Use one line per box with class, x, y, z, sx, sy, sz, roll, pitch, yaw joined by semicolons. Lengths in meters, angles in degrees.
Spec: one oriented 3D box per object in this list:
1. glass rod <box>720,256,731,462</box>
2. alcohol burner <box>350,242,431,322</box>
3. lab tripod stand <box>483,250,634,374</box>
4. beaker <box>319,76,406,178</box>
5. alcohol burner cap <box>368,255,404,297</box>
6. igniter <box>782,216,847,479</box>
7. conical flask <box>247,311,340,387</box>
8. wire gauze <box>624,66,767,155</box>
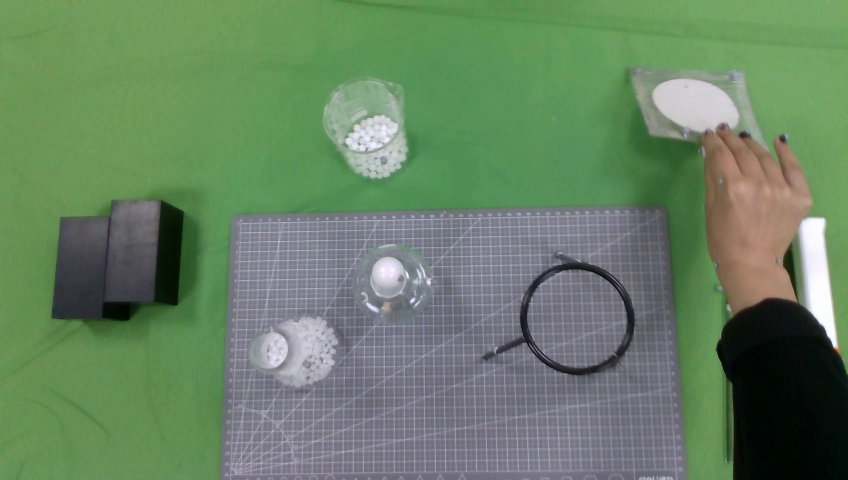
glass rod;0.295;0.114;0.593;0.008;0.008;0.199;3;80;3
alcohol burner;-0.033;0.037;0.563;0.078;0.119;0.077;0;79;1
lab tripod stand;0.121;0.074;0.541;0.148;0.132;0.148;0;82;3
beaker;-0.054;-0.108;0.598;0.084;0.100;0.074;-42;81;-5
alcohol burner cap;-0.033;0.029;0.528;0.034;0.048;0.033;2;73;-5
igniter;0.378;0.113;0.581;0.057;0.025;0.275;0;81;-9
conical flask;-0.123;0.099;0.552;0.075;0.122;0.075;0;80;3
wire gauze;0.270;-0.136;0.609;0.125;0.011;0.120;6;52;-1
